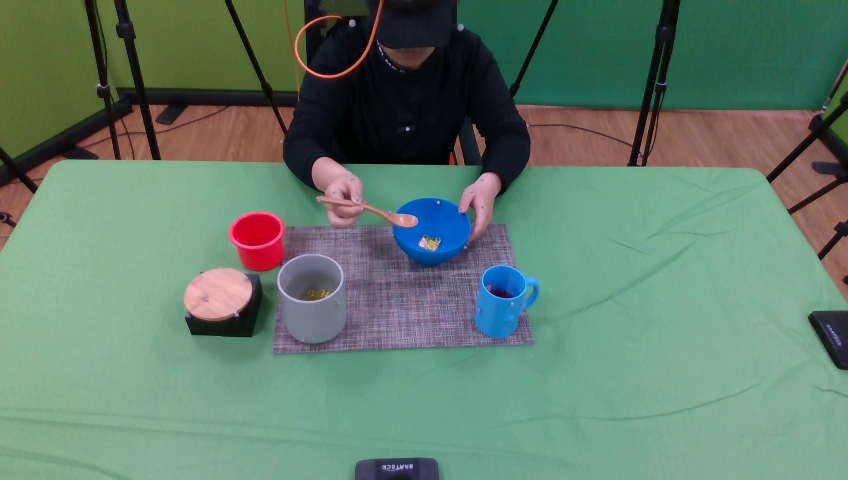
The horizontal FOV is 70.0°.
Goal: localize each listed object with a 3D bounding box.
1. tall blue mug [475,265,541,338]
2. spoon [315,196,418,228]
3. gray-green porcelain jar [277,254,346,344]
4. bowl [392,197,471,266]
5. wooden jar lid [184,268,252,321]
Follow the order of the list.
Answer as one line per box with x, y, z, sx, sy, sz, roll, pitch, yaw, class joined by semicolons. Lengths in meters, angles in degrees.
0.142;0.099;1.047;0.077;0.108;0.107;33;52;27;tall blue mug
-0.097;-0.052;1.055;0.194;0.022;0.041;17;33;-29;spoon
-0.184;0.102;1.008;0.106;0.127;0.105;2;46;-2;gray-green porcelain jar
0.012;-0.004;1.159;0.151;0.077;0.150;2;46;-2;bowl
-0.343;0.093;1.015;0.108;0.021;0.107;3;46;-3;wooden jar lid
